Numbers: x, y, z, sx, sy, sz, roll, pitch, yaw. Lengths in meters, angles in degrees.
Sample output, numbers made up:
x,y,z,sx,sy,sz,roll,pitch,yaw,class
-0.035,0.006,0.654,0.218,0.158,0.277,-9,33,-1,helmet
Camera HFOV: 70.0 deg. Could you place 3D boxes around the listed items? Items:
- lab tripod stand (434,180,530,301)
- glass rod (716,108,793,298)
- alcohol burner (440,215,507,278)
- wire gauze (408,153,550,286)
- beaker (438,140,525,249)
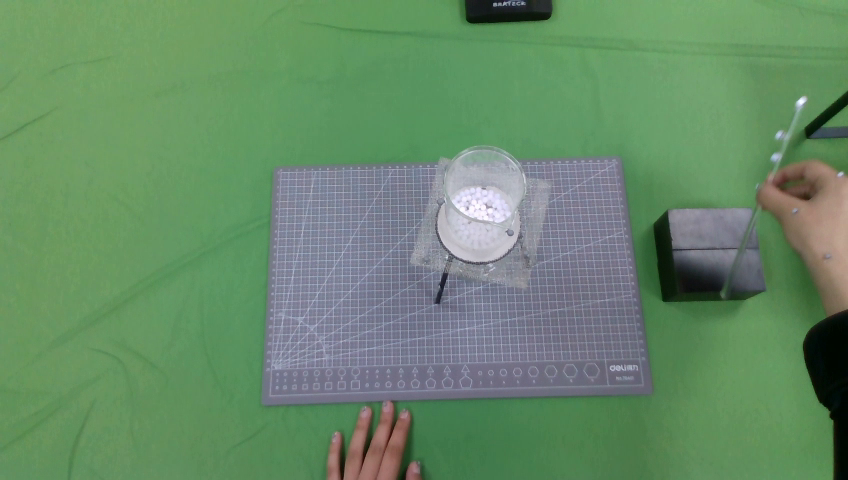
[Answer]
x,y,z,sx,sy,sz,roll,pitch,yaw,class
0.053,-0.004,0.683,0.148,0.132,0.147,-1,72,2,lab tripod stand
0.328,-0.032,0.605,0.008,0.008,0.200,12,111,4,glass rod
0.057,0.003,0.691,0.078,0.120,0.077,-1,74,3,alcohol burner
0.058,-0.022,0.619,0.121,0.011,0.124,15,72,4,wire gauze
0.054,-0.035,0.573,0.074,0.101,0.083,-28,74,-7,beaker
